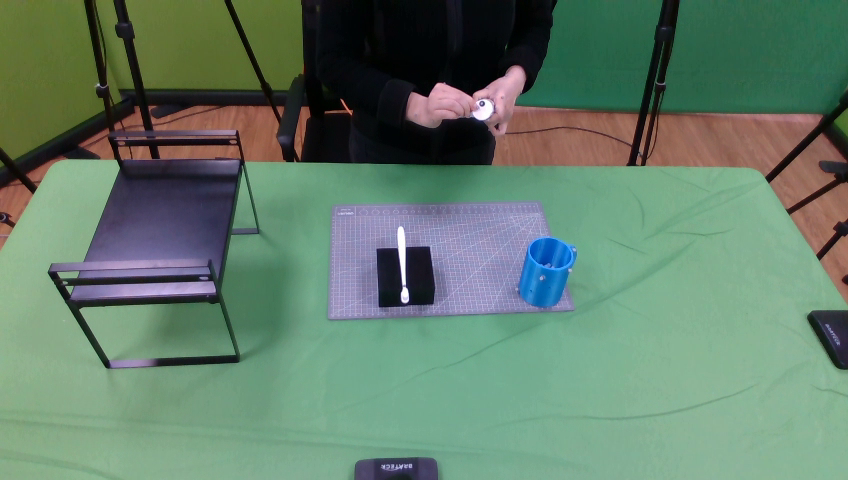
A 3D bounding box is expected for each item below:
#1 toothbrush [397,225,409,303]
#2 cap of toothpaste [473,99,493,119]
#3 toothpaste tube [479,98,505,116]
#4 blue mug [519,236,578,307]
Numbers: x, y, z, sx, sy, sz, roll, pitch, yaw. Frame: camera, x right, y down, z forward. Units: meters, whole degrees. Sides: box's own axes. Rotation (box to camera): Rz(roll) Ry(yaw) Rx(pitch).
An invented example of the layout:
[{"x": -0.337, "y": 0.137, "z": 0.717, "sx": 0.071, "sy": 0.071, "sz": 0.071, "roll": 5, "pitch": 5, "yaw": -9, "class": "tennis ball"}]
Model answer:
[{"x": -0.038, "y": 0.038, "z": 1.090, "sx": 0.014, "sy": 0.017, "sz": 0.180, "roll": -6, "pitch": 46, "yaw": 0, "class": "toothbrush"}, {"x": 0.105, "y": -0.234, "z": 1.081, "sx": 0.037, "sy": 0.037, "sz": 0.011, "roll": 11, "pitch": 20, "yaw": 7, "class": "cap of toothpaste"}, {"x": 0.123, "y": -0.254, "z": 1.155, "sx": 0.055, "sy": 0.034, "sz": 0.165, "roll": 28, "pitch": 20, "yaw": 3, "class": "toothpaste tube"}, {"x": 0.234, "y": 0.051, "z": 1.102, "sx": 0.116, "sy": 0.106, "sz": 0.082, "roll": -23, "pitch": 52, "yaw": -24, "class": "blue mug"}]
